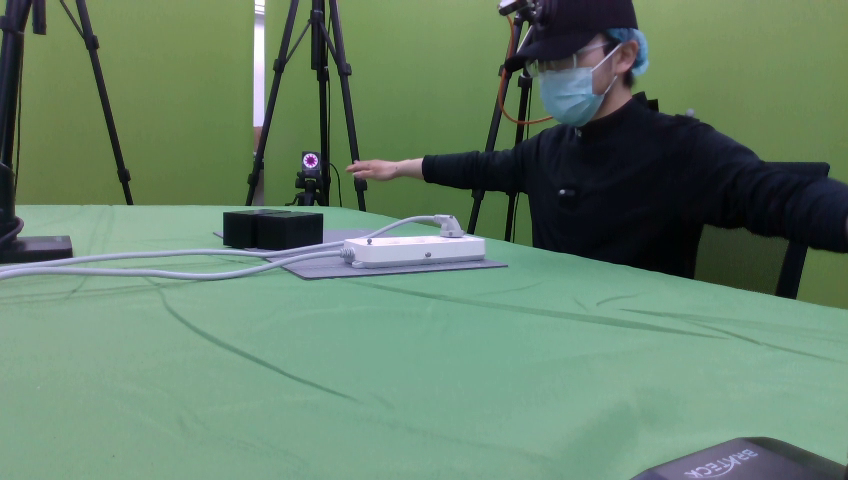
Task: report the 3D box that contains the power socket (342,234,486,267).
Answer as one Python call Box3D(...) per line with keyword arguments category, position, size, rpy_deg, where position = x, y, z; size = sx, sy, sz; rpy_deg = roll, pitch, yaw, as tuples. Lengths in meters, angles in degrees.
Box3D(category="power socket", position=(-0.010, 0.012, 0.845), size=(0.228, 0.032, 0.072), rpy_deg=(-3, 8, -36))

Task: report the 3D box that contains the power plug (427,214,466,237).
Box3D(category="power plug", position=(0.035, -0.012, 0.911), size=(0.035, 0.052, 0.072), rpy_deg=(-2, 2, -25))
